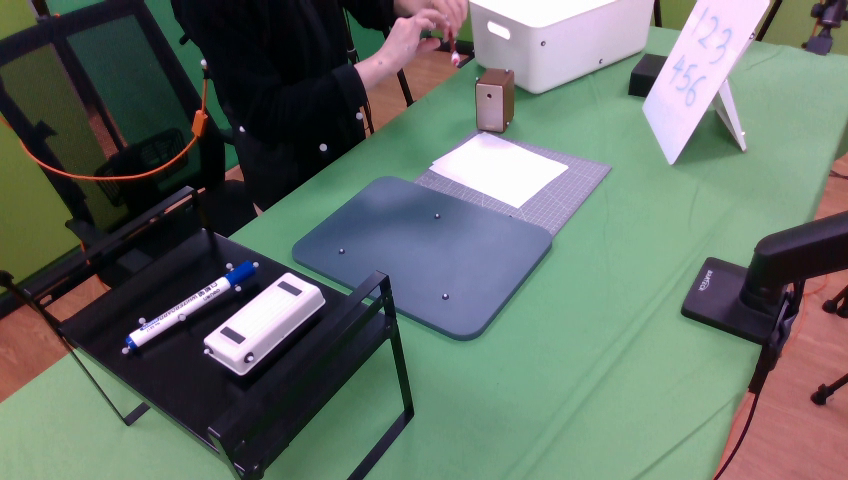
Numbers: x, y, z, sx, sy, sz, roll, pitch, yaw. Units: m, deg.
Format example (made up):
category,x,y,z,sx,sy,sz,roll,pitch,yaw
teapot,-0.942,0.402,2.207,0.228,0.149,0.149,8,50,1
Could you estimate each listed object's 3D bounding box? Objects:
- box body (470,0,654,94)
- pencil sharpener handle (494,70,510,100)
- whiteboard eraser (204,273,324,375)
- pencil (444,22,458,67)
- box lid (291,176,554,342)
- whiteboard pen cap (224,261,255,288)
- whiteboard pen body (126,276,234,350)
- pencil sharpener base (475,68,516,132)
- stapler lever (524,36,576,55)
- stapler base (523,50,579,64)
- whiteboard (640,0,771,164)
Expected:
category,x,y,z,sx,sy,sz,roll,pitch,yaw
box body,0.319,-0.498,1.405,0.365,0.161,0.252,-26,43,-21
pencil sharpener handle,0.166,-0.325,1.248,0.036,0.068,0.030,11,44,22
whiteboard eraser,-0.157,0.084,0.605,0.055,0.042,0.113,24,49,30
pencil,0.046,-0.350,1.067,0.012,0.012,0.193,-6,40,1
box lid,-0.005,0.011,0.972,0.368,0.015,0.264,21,49,30
whiteboard pen cap,-0.207,0.039,0.677,0.033,0.018,0.018,-36,47,-18
whiteboard pen body,-0.251,0.070,0.649,0.141,0.017,0.017,-36,48,-26
pencil sharpener base,0.147,-0.284,1.222,0.061,0.107,0.077,11,44,22
stapler lever,0.296,-0.456,1.418,0.117,0.040,0.027,4,40,17
stapler base,0.301,-0.437,1.434,0.130,0.024,0.041,5,40,17
whiteboard,0.543,-0.299,1.076,0.144,0.305,0.216,12,40,-7
